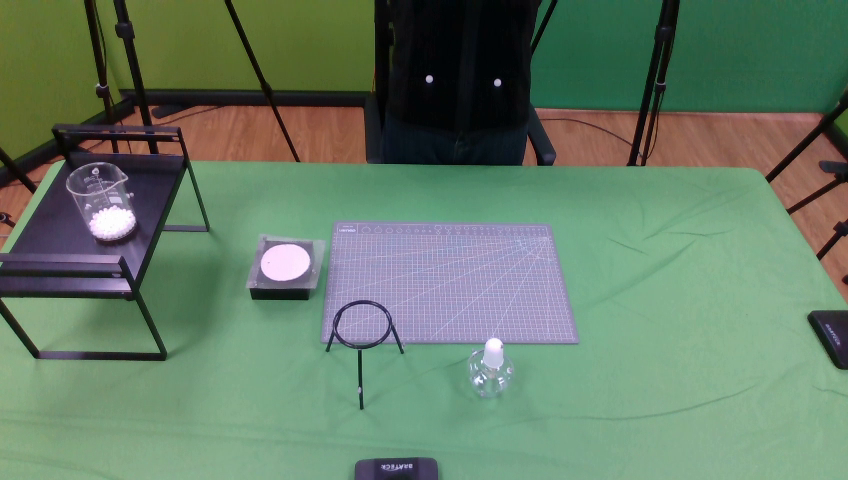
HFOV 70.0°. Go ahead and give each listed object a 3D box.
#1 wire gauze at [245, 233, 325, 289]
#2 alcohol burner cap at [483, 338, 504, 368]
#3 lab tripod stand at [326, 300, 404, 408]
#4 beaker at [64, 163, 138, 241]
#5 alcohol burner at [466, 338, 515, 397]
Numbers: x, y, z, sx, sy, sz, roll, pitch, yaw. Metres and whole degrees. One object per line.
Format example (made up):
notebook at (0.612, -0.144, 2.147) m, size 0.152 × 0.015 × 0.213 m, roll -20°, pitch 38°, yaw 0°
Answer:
wire gauze at (-0.245, 0.038, 1.082) m, size 0.121 × 0.011 × 0.124 m, roll 5°, pitch 47°, yaw -3°
alcohol burner cap at (0.108, 0.169, 0.928) m, size 0.034 × 0.048 × 0.033 m, roll 0°, pitch 41°, yaw 1°
lab tripod stand at (-0.099, 0.167, 0.950) m, size 0.148 × 0.132 × 0.147 m, roll 1°, pitch 47°, yaw -1°
beaker at (-0.478, -0.055, 0.910) m, size 0.084 × 0.101 × 0.073 m, roll -9°, pitch 48°, yaw -13°
alcohol burner at (0.106, 0.194, 0.952) m, size 0.078 × 0.120 × 0.077 m, roll 1°, pitch 45°, yaw -1°
